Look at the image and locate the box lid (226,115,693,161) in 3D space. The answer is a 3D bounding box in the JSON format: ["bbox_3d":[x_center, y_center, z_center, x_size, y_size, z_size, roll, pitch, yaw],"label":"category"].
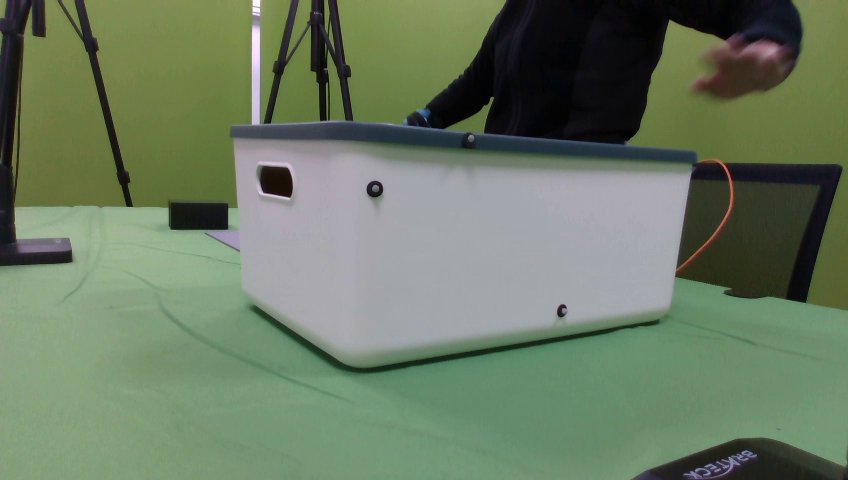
[{"bbox_3d":[0.031,-0.086,0.554,0.373,0.015,0.262,-2,8,-33],"label":"box lid"}]

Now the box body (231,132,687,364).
[{"bbox_3d":[0.031,-0.013,0.563,0.366,0.160,0.253,-3,8,-33],"label":"box body"}]
